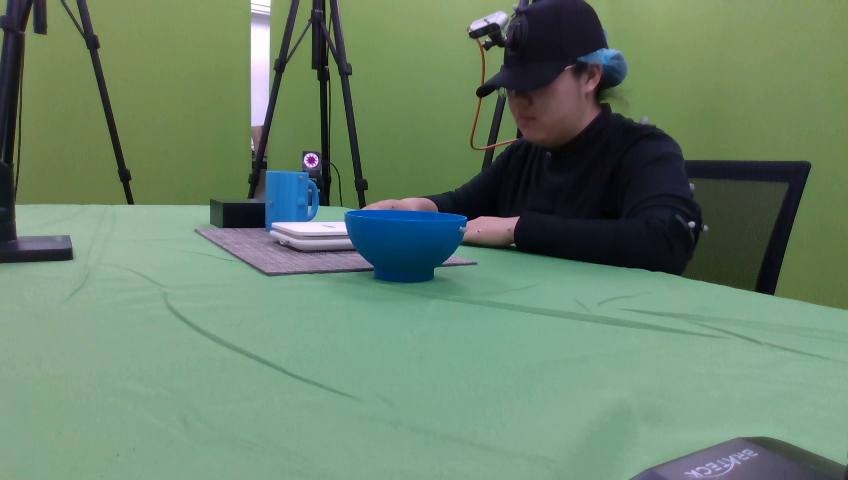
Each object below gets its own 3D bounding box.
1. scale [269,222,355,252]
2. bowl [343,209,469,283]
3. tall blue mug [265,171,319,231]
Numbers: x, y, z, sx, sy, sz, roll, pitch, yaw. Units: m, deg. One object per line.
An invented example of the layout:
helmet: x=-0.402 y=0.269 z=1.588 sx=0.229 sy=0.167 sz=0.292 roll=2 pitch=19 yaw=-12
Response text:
scale: x=-0.130 y=-0.008 z=0.959 sx=0.202 sy=0.031 sz=0.148 roll=-1 pitch=9 yaw=-32
bowl: x=-0.023 y=0.007 z=0.731 sx=0.151 sy=0.077 sz=0.151 roll=3 pitch=7 yaw=0
tall blue mug: x=-0.248 y=-0.073 z=1.121 sx=0.078 sy=0.108 sz=0.107 roll=3 pitch=8 yaw=8
